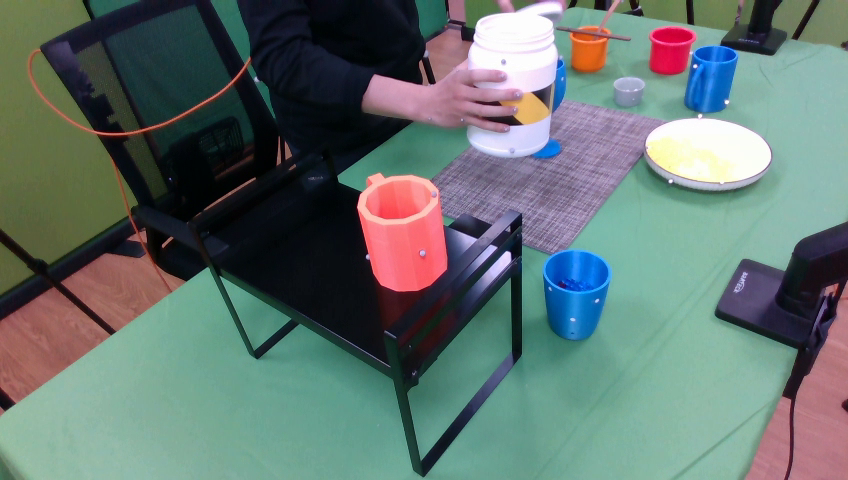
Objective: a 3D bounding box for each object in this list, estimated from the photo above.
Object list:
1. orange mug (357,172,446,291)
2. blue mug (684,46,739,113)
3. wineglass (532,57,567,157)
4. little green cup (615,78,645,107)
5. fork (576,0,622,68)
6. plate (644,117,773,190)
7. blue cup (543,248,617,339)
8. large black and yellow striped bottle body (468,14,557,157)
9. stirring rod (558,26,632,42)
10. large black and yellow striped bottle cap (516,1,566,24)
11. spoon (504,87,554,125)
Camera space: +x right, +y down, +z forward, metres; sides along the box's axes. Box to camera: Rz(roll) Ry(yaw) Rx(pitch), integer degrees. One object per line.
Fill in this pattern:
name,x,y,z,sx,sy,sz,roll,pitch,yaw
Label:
orange mug,-0.030,-0.019,0.668,0.084,0.101,0.125,-23,47,-16
blue mug,0.556,-0.310,1.190,0.117,0.106,0.081,-32,46,-25
wineglass,0.222,-0.241,1.102,0.074,0.173,0.073,-5,41,5
little green cup,0.426,-0.306,1.257,0.061,0.039,0.061,-5,40,4
fork,0.409,-0.484,1.381,0.028,0.019,0.207,37,101,45
plate,0.495,-0.149,1.063,0.209,0.038,0.208,-5,40,4
blue cup,0.199,0.076,0.797,0.092,0.100,0.092,-4,39,4
large black and yellow striped bottle body,0.132,-0.234,0.917,0.131,0.184,0.130,-1,36,1
stirring rod,0.381,-0.462,1.356,0.175,0.006,0.014,22,48,30
large black and yellow striped bottle cap,0.211,-0.421,1.148,0.115,0.019,0.115,-16,1,1
spoon,0.227,-0.285,1.269,0.041,0.022,0.194,3,37,44
